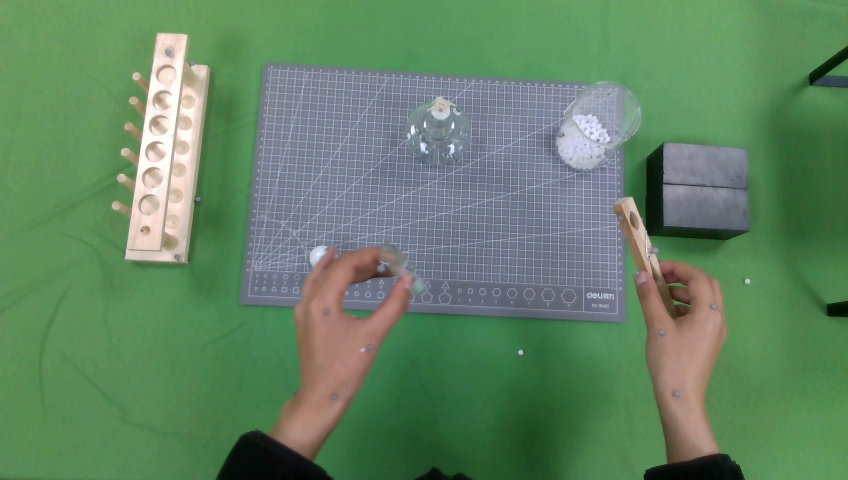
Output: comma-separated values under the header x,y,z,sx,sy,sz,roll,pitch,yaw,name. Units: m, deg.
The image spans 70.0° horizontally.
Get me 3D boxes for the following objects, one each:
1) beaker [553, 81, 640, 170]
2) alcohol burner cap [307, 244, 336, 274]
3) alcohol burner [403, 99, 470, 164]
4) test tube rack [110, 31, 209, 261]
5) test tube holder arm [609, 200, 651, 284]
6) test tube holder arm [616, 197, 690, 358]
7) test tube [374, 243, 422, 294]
x,y,z,sx,sy,sz,roll,pitch,yaw,name
0.192,-0.127,0.703,0.084,0.100,0.073,2,78,-1,beaker
-0.118,0.019,0.688,0.034,0.048,0.033,1,80,-4,alcohol burner cap
0.014,-0.130,0.687,0.078,0.119,0.077,0,79,-1,alcohol burner
-0.301,-0.103,0.682,0.067,0.085,0.241,3,79,-2,test tube rack
0.200,0.003,0.580,0.010,0.015,0.088,-30,104,-13,test tube holder arm
0.225,0.039,0.592,0.013,0.015,0.179,-31,104,-13,test tube holder arm
-0.020,0.028,0.528,0.017,0.151,0.017,-2,75,8,test tube
